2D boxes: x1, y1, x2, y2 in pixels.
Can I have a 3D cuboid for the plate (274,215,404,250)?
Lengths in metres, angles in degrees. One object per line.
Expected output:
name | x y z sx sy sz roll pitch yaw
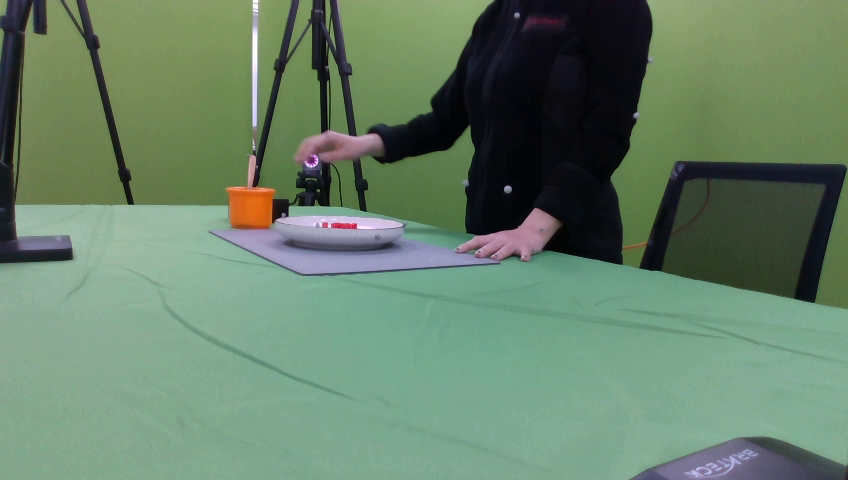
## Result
plate | -0.136 -0.013 0.981 0.209 0.038 0.209 2 7 0

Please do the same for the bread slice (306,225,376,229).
bread slice | -0.133 -0.011 0.974 0.135 0.018 0.106 -3 8 -33

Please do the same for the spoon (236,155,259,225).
spoon | -0.343 -0.102 1.196 0.042 0.193 0.021 -1 -36 -8
